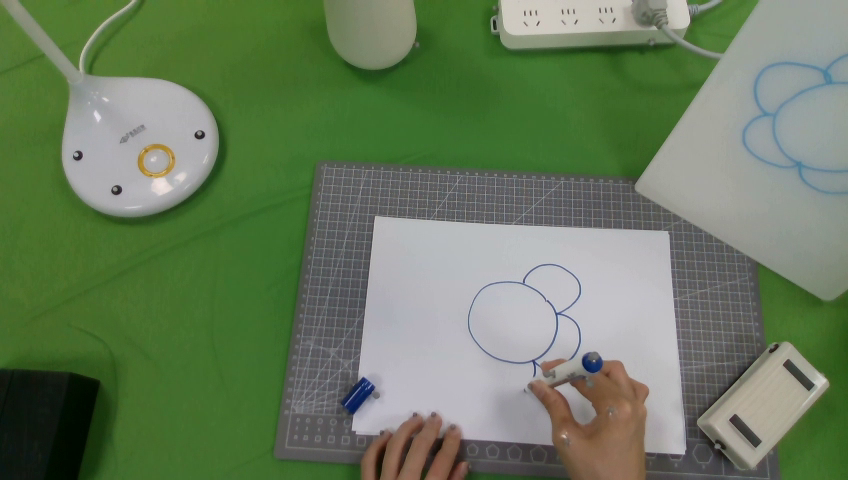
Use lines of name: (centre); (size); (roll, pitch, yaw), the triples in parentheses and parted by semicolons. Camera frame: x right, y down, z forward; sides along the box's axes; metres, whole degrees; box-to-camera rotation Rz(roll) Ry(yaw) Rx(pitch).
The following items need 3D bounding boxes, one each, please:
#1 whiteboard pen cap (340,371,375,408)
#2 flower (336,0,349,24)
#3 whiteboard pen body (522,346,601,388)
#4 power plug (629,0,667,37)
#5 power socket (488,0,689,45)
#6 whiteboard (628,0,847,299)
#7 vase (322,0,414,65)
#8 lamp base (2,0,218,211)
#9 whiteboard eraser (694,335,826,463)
whiteboard pen cap: (-0.060, 0.136, 0.555); (0.018, 0.018, 0.033); (38, 73, 13)
flower: (-0.044, -0.285, 0.521); (0.044, 0.361, 0.038); (-40, 92, -21)
whiteboard pen body: (0.107, 0.108, 0.499); (0.017, 0.141, 0.017); (5, 68, -11)
power plug: (0.239, -0.242, 0.655); (0.035, 0.053, 0.072); (8, 77, 3)
power socket: (0.187, -0.261, 0.686); (0.227, 0.033, 0.071); (-2, 72, -1)
whiteboard: (0.366, -0.129, 0.528); (0.216, 0.307, 0.143); (34, 53, 12)
vase: (-0.062, -0.266, 0.601); (0.098, 0.201, 0.097); (0, 70, 2)
lamp base: (-0.309, -0.138, 0.567); (0.178, 0.181, 0.160); (35, 74, 15)
whiteboard eraser: (0.297, 0.139, 0.539); (0.112, 0.042, 0.055); (-39, 74, -12)
